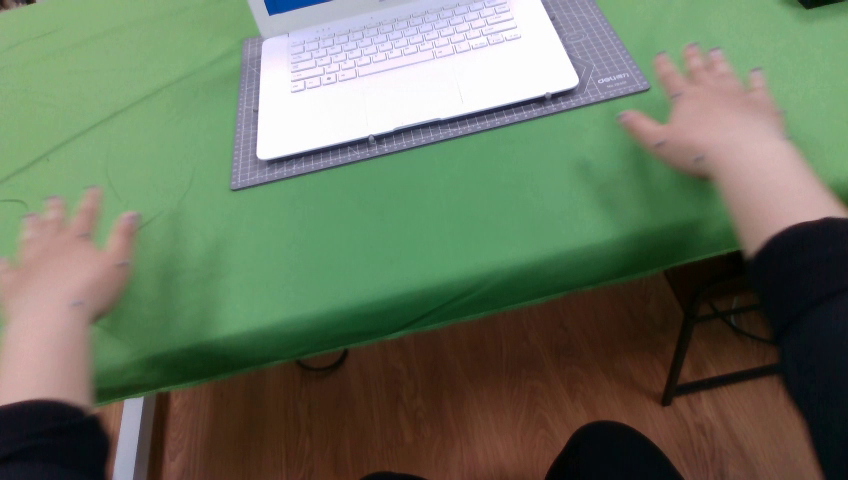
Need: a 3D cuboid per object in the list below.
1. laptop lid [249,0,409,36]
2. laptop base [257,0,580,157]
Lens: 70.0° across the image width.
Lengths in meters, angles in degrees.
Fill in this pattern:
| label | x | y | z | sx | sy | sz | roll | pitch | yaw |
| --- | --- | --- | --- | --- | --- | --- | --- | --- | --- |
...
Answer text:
| label | x | y | z | sx | sy | sz | roll | pitch | yaw |
| --- | --- | --- | --- | --- | --- | --- | --- | --- | --- |
| laptop lid | -0.061 | -0.385 | 0.708 | 0.356 | 0.244 | 0.013 | -14 | 42 | 4 |
| laptop base | -0.021 | -0.210 | 0.712 | 0.354 | 0.023 | 0.233 | -13 | 53 | 3 |
